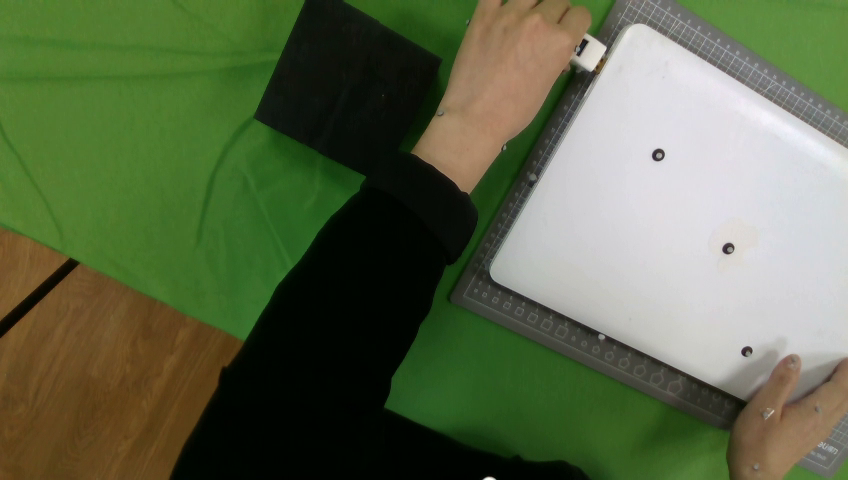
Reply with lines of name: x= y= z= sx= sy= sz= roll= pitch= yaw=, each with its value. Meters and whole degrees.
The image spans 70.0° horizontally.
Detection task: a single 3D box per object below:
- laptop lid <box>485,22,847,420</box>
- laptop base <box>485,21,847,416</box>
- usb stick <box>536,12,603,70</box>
laptop lid: x=0.256 y=0.005 z=0.523 sx=0.358 sy=0.013 sz=0.242 roll=27 pitch=104 yaw=-12
laptop base: x=0.257 y=0.000 z=0.533 sx=0.356 sy=0.023 sz=0.236 roll=25 pitch=106 yaw=-12
usb stick: x=0.116 y=-0.147 z=0.460 sx=0.059 sy=0.027 sz=0.021 roll=27 pitch=110 yaw=-21
